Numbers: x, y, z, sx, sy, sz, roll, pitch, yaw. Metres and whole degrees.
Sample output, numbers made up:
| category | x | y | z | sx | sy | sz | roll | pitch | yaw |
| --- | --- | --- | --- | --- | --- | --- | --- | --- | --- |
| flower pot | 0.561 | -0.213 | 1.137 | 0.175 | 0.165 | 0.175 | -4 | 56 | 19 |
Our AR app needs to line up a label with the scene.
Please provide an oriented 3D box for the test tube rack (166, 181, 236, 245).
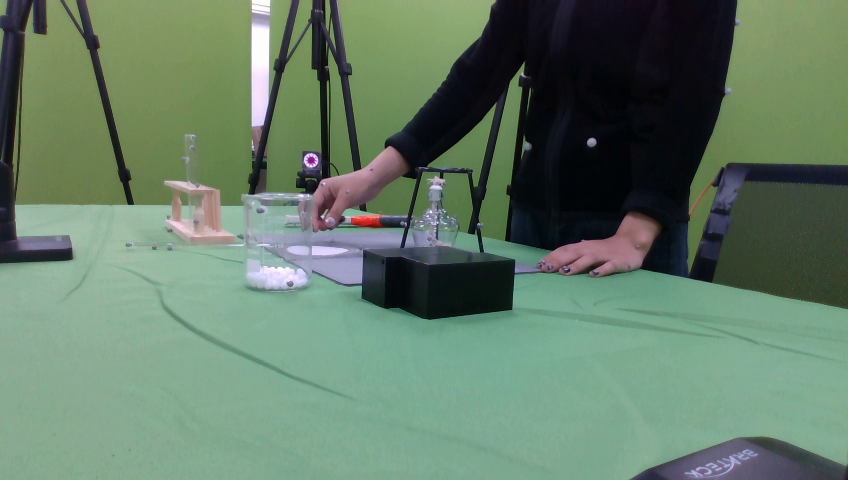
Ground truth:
| category | x | y | z | sx | sy | sz | roll | pitch | yaw |
| --- | --- | --- | --- | --- | --- | --- | --- | --- | --- |
| test tube rack | -0.383 | -0.051 | 1.024 | 0.067 | 0.085 | 0.241 | -2 | 9 | -31 |

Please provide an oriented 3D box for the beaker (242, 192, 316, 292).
| category | x | y | z | sx | sy | sz | roll | pitch | yaw |
| --- | --- | --- | --- | --- | --- | --- | --- | --- | --- |
| beaker | -0.157 | 0.000 | 0.642 | 0.084 | 0.100 | 0.074 | 4 | 7 | 19 |

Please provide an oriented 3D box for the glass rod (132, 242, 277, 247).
| category | x | y | z | sx | sy | sz | roll | pitch | yaw |
| --- | --- | --- | --- | --- | --- | --- | --- | --- | --- |
| glass rod | -0.316 | 0.007 | 0.885 | 0.201 | 0.008 | 0.008 | 0 | 7 | -27 |

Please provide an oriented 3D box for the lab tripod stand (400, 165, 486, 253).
| category | x | y | z | sx | sy | sz | roll | pitch | yaw |
| --- | --- | --- | --- | --- | --- | --- | --- | --- | --- |
| lab tripod stand | 0.027 | -0.049 | 0.930 | 0.148 | 0.131 | 0.148 | 2 | 9 | 0 |

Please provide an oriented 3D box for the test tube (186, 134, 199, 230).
| category | x | y | z | sx | sy | sz | roll | pitch | yaw |
| --- | --- | --- | --- | --- | --- | --- | --- | --- | --- |
| test tube | -0.360 | -0.089 | 0.946 | 0.017 | 0.150 | 0.017 | 0 | 10 | 0 |

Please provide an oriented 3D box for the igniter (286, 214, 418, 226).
| category | x | y | z | sx | sy | sz | roll | pitch | yaw |
| --- | --- | --- | --- | --- | --- | --- | --- | --- | --- |
| igniter | -0.145 | -0.043 | 1.262 | 0.278 | 0.025 | 0.057 | -1 | -2 | -25 |

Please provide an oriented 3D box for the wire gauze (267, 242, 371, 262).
| category | x | y | z | sx | sy | sz | roll | pitch | yaw |
| --- | --- | --- | --- | --- | --- | --- | --- | --- | --- |
| wire gauze | -0.155 | 0.014 | 0.877 | 0.122 | 0.011 | 0.124 | -3 | 10 | -29 |

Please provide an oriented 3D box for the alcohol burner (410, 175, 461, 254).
| category | x | y | z | sx | sy | sz | roll | pitch | yaw |
| --- | --- | --- | --- | --- | --- | --- | --- | --- | --- |
| alcohol burner | 0.018 | -0.040 | 0.931 | 0.078 | 0.119 | 0.078 | 0 | 6 | 0 |

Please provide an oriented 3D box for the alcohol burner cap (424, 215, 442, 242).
| category | x | y | z | sx | sy | sz | roll | pitch | yaw |
| --- | --- | --- | --- | --- | --- | --- | --- | --- | --- |
| alcohol burner cap | 0.017 | -0.022 | 1.098 | 0.034 | 0.048 | 0.034 | 2 | 8 | 0 |
